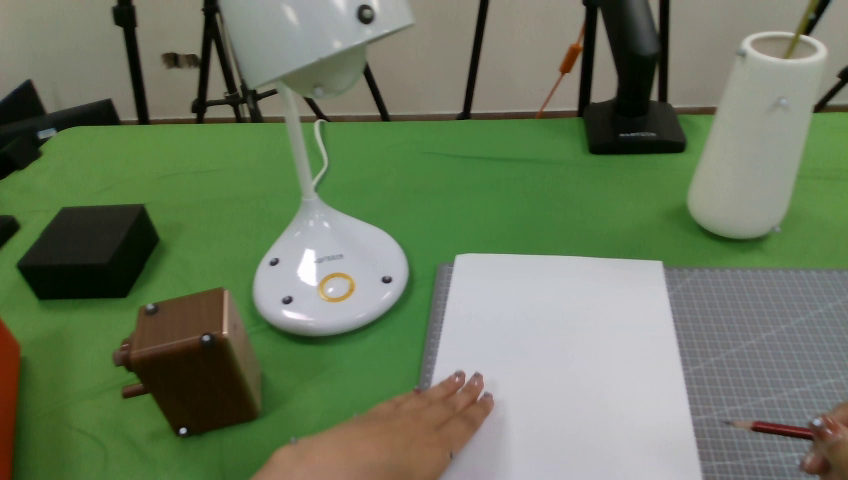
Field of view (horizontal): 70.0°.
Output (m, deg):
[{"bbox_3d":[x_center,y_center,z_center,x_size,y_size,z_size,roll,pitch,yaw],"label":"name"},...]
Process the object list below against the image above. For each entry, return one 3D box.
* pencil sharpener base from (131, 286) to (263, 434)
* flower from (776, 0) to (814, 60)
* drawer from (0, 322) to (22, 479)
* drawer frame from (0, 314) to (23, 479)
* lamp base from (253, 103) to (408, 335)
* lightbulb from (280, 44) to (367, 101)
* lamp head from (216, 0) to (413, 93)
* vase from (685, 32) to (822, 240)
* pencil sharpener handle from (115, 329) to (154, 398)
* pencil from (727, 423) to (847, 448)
[{"bbox_3d":[-0.183,0.101,0.498,0.077,0.108,0.060,-13,41,-8],"label":"pencil sharpener base"},{"bbox_3d":[0.311,-0.148,0.537,0.038,0.365,0.043,-39,62,-16],"label":"flower"},{"bbox_3d":[-0.433,0.170,0.466,0.195,0.074,0.209,-20,41,-16],"label":"drawer"},{"bbox_3d":[-0.436,0.168,0.466,0.202,0.083,0.211,-21,41,-17],"label":"drawer frame"},{"bbox_3d":[-0.108,-0.029,0.588,0.161,0.182,0.177,-20,39,-16],"label":"lamp base"},{"bbox_3d":[-0.071,-0.139,0.366,0.059,0.108,0.059,-12,16,4],"label":"lightbulb"},{"bbox_3d":[-0.080,-0.163,0.365,0.112,0.123,0.112,-23,13,6],"label":"lamp head"},{"bbox_3d":[0.326,-0.098,0.605,0.098,0.202,0.097,-4,39,4],"label":"vase"},{"bbox_3d":[-0.234,0.102,0.483,0.031,0.068,0.035,-13,43,-8],"label":"pencil sharpener handle"},{"bbox_3d":[0.265,0.115,0.327,0.193,0.012,0.012,-5,30,46],"label":"pencil"}]
